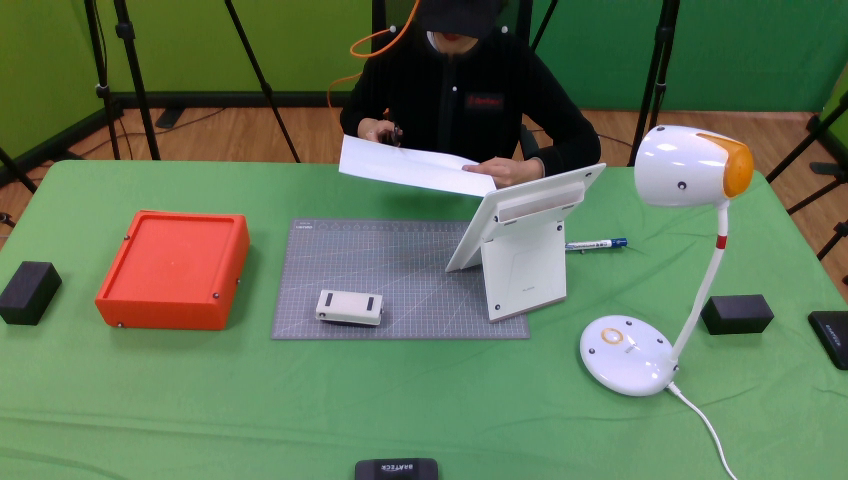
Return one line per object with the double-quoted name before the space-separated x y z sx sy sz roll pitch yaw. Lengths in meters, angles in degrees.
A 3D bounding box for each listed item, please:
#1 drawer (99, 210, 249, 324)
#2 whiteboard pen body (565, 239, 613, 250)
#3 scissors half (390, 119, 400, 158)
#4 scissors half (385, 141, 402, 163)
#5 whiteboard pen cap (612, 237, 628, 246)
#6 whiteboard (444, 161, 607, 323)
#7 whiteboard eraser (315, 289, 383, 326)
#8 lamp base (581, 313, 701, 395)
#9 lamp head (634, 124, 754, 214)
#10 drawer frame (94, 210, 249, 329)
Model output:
"drawer" -0.435 0.044 1.081 0.194 0.073 0.210 3 47 -2
"whiteboard pen body" 0.331 0.008 1.211 0.141 0.017 0.017 -5 47 -4
"scissors half" -0.059 -0.217 1.300 0.013 0.040 0.174 9 35 -14
"scissors half" -0.064 -0.194 1.307 0.013 0.175 0.040 5 88 -13
"whiteboard pen cap" 0.390 0.004 1.215 0.033 0.018 0.018 -7 47 -2
"whiteboard" 0.186 0.025 1.029 0.217 0.306 0.143 -14 68 -18
"whiteboard eraser" -0.130 0.119 1.054 0.113 0.042 0.055 6 47 1
"lamp base" 0.361 0.144 0.972 0.178 0.181 0.160 34 53 23
"lamp head" 0.351 -0.089 0.776 0.112 0.113 0.122 -30 30 -28
"drawer frame" -0.434 0.048 1.076 0.202 0.083 0.212 2 47 -3
